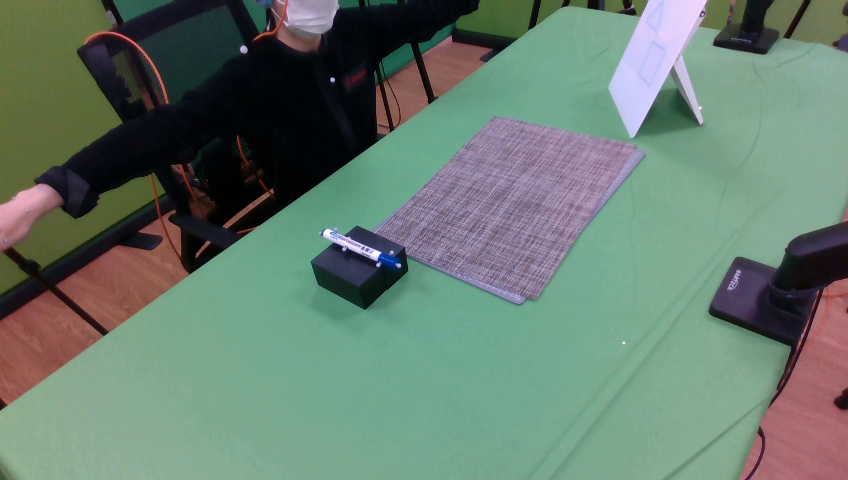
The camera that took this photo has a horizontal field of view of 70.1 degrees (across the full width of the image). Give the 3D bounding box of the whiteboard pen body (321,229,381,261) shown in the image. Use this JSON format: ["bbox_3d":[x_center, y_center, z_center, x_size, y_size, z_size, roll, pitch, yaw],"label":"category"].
[{"bbox_3d":[-0.100,0.010,0.901,0.139,0.017,0.017,22,48,30],"label":"whiteboard pen body"}]

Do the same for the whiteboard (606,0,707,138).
[{"bbox_3d":[0.496,-0.359,1.147,0.144,0.305,0.216,11,40,-7],"label":"whiteboard"}]

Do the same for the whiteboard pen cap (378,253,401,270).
[{"bbox_3d":[-0.051,0.030,0.870,0.033,0.018,0.018,21,48,28],"label":"whiteboard pen cap"}]
